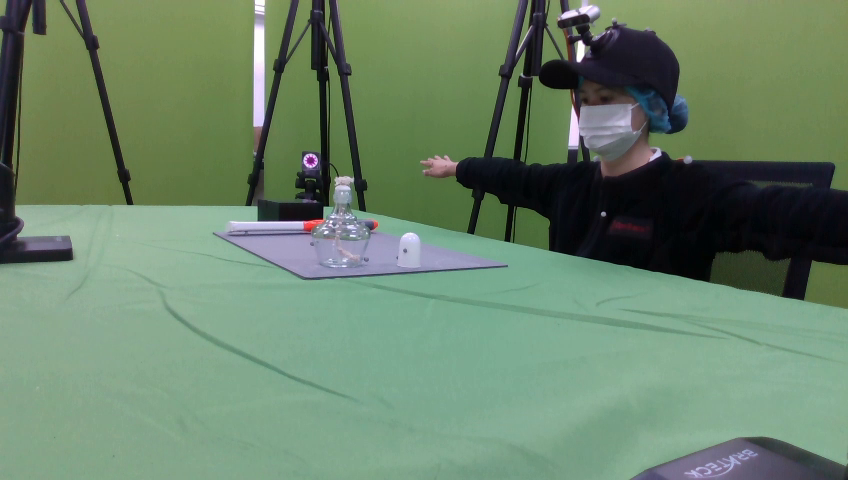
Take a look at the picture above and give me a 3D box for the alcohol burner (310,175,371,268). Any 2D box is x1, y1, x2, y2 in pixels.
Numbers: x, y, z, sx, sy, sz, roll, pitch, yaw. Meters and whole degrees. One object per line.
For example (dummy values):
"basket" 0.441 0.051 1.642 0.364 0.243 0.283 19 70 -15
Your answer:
"alcohol burner" -0.107 -0.024 0.778 0.078 0.119 0.078 3 5 0

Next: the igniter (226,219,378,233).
"igniter" -0.213 -0.025 1.092 0.278 0.025 0.057 -2 -2 -32

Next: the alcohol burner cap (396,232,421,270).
"alcohol burner cap" -0.020 0.014 0.795 0.034 0.048 0.034 2 7 0
